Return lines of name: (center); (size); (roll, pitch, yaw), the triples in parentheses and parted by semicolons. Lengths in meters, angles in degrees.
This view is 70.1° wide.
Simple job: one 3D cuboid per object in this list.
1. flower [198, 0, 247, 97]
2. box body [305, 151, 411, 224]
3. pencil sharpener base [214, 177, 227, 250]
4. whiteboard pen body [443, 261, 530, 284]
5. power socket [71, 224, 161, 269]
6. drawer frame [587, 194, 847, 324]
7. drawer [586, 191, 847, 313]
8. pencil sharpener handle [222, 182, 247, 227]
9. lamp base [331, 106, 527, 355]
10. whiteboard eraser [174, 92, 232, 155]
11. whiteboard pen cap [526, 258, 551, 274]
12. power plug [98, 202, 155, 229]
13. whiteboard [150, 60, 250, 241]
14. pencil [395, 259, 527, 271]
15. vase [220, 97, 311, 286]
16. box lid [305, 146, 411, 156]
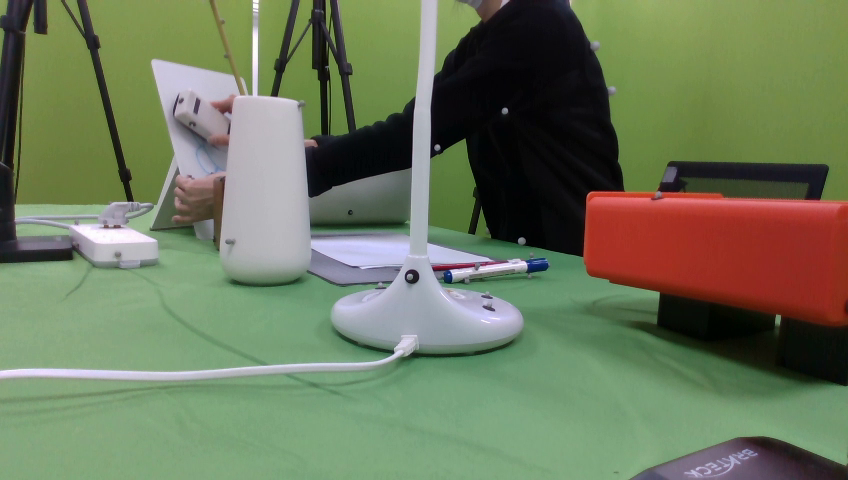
flower: (-0.187, -0.133, 0.648); (0.038, 0.362, 0.044); (-1, 22, 43)
box body: (-0.230, -0.126, 1.371); (0.366, 0.160, 0.253); (-2, 8, -33)
pencil sharpener base: (-0.265, -0.036, 0.870); (0.061, 0.107, 0.076); (-2, 8, -29)
whiteboard pen body: (0.087, 0.037, 0.734); (0.141, 0.017, 0.017); (-6, 10, -27)
power socket: (-0.408, 0.004, 0.793); (0.072, 0.032, 0.225); (-2, 8, -38)
drawer frame: (0.285, 0.004, 0.508); (0.203, 0.082, 0.212); (-1, 6, -29)
drawer: (0.282, 0.001, 0.513); (0.195, 0.073, 0.210); (-1, 8, -29)
pencil sharpener handle: (-0.290, -0.055, 0.912); (0.036, 0.067, 0.030); (-1, 7, -29)
lamp base: (0.006, -0.012, 0.478); (0.161, 0.180, 0.179); (2, 10, 2)
whiteboard eraser: (-0.365, -0.193, 1.011); (0.041, 0.055, 0.113); (-18, -32, 24)
whiteboard pen cap: (0.141, 0.033, 0.758); (0.033, 0.018, 0.018); (-7, 11, -26)
power plug: (-0.416, -0.026, 0.848); (0.073, 0.052, 0.035); (0, 8, -28)
whiteboard: (-0.408, -0.139, 1.093); (0.143, 0.305, 0.218); (-15, -1, 26)
pencil: (0.052, 0.034, 0.783); (0.195, 0.012, 0.012); (-2, 9, -25)
vase: (-0.172, -0.052, 0.662); (0.098, 0.200, 0.098); (3, 8, 0)
box lid: (-0.229, -0.200, 1.360); (0.373, 0.015, 0.262); (-3, 9, -33)
